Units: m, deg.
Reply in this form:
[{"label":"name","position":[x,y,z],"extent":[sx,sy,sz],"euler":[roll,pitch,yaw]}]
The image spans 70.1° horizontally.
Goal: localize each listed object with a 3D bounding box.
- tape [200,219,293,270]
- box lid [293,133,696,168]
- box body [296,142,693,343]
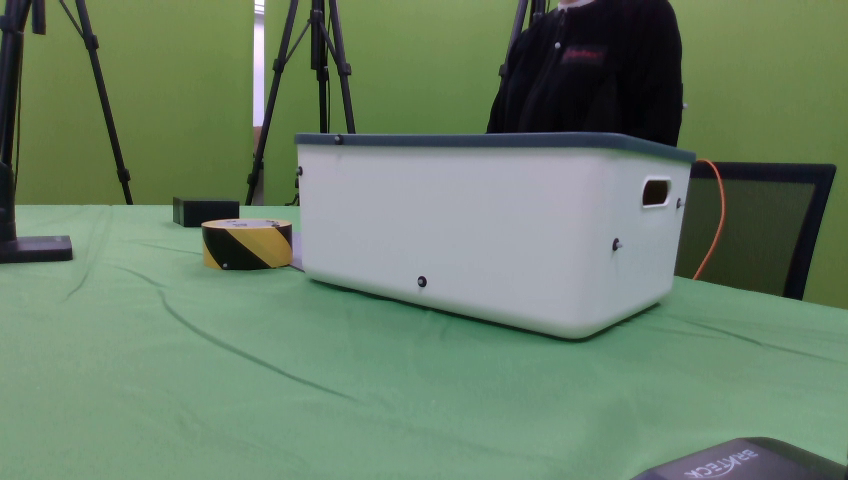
[{"label":"tape","position":[-0.228,0.004,0.778],"extent":[0.117,0.052,0.117],"euler":[1,8,0]},{"label":"box lid","position":[0.068,-0.094,0.645],"extent":[0.369,0.015,0.265],"euler":[9,8,37]},{"label":"box body","position":[0.065,-0.020,0.653],"extent":[0.362,0.160,0.255],"euler":[9,9,37]}]
